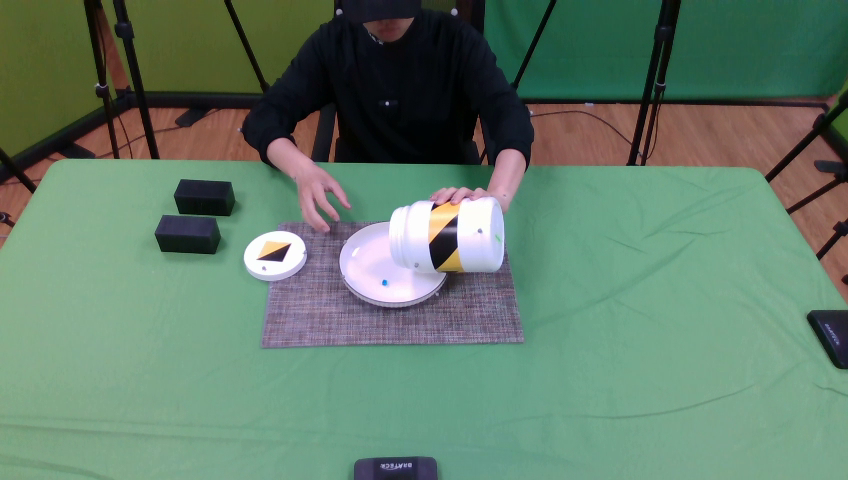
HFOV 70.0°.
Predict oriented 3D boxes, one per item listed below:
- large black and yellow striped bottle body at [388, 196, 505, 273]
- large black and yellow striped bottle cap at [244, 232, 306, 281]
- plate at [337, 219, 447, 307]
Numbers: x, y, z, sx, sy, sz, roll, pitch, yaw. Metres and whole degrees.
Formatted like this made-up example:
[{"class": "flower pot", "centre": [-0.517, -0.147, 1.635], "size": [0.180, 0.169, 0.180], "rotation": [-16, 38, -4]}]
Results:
[{"class": "large black and yellow striped bottle body", "centre": [0.040, -0.008, 1.064], "size": [0.184, 0.131, 0.130], "rotation": [-2, 43, 18]}, {"class": "large black and yellow striped bottle cap", "centre": [-0.282, 0.029, 1.145], "size": [0.115, 0.019, 0.114], "rotation": [-1, 45, 1]}, {"class": "plate", "centre": [-0.057, 0.045, 1.133], "size": [0.208, 0.039, 0.206], "rotation": [2, 46, -2]}]
